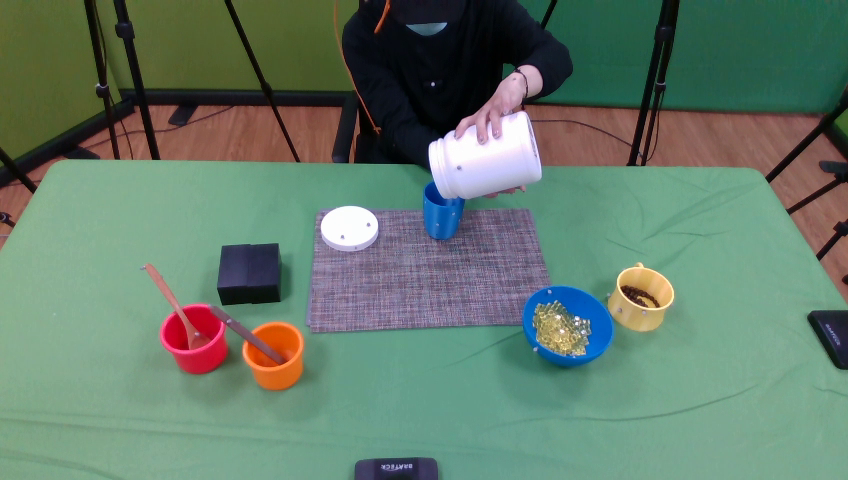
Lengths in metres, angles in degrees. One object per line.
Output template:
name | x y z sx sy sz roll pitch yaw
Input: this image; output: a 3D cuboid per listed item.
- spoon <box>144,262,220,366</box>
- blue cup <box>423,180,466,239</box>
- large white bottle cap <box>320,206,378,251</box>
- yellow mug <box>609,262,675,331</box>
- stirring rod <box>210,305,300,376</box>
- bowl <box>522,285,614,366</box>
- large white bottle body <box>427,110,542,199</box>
spoon | -0.389 0.118 0.970 0.041 0.021 0.194 -34 101 -34
blue cup | 0.036 -0.056 1.192 0.093 0.101 0.092 3 46 -3
large white bottle cap | -0.150 -0.024 1.207 0.115 0.018 0.114 2 46 -2
yellow mug | 0.393 0.094 1.103 0.100 0.064 0.130 7 45 4
stirring rod | -0.262 0.158 0.946 0.177 0.006 0.014 43 43 -21
bowl | 0.235 0.158 1.022 0.151 0.077 0.150 2 46 -2
large white bottle body | 0.110 -0.149 1.099 0.184 0.131 0.130 -13 44 17
